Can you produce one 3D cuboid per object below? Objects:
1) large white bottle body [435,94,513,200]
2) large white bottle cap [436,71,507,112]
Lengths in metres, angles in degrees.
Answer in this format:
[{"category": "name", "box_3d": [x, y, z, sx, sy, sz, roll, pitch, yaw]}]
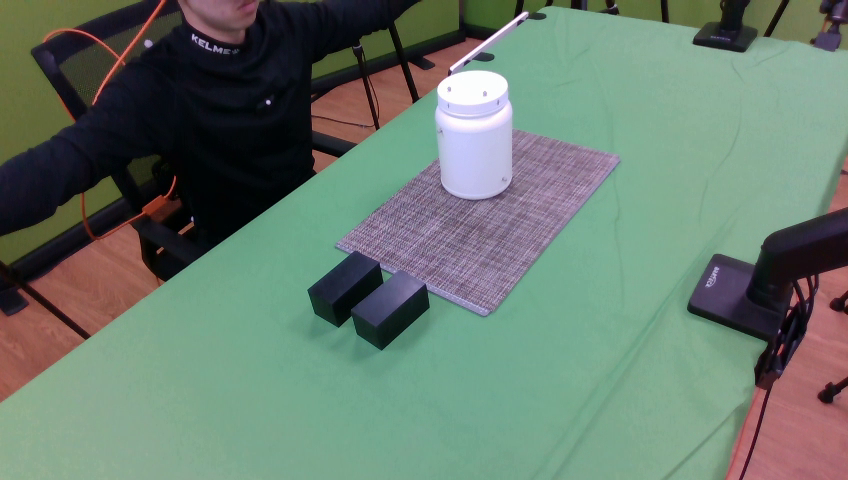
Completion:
[{"category": "large white bottle body", "box_3d": [0.086, -0.176, 1.030, 0.130, 0.185, 0.130, -4, 41, 4]}, {"category": "large white bottle cap", "box_3d": [0.077, -0.241, 0.976, 0.115, 0.018, 0.114, -4, 41, 4]}]
